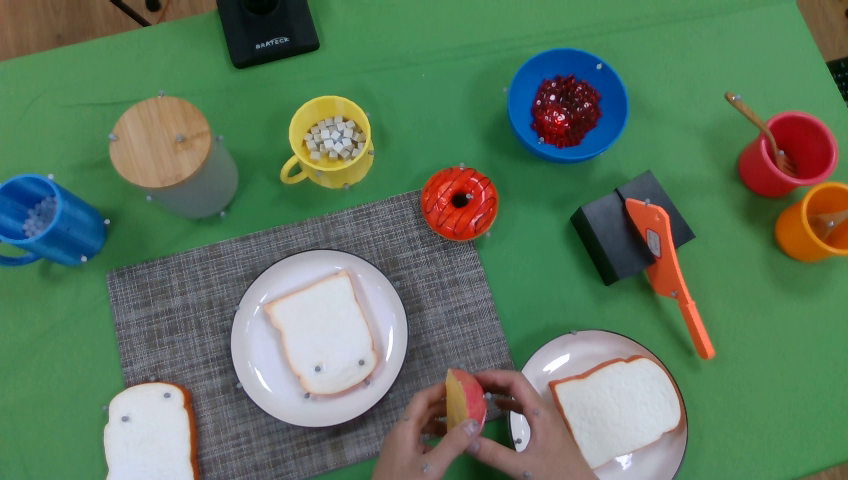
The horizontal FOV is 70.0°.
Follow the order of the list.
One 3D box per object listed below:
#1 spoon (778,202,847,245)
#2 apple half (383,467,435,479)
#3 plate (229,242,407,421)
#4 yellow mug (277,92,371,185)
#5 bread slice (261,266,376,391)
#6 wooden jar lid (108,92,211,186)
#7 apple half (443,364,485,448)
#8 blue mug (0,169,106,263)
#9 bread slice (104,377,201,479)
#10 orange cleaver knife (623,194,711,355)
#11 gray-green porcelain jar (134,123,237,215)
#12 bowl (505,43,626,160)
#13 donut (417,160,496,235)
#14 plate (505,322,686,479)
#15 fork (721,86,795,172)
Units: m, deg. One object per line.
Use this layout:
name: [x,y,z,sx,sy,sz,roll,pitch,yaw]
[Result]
spoon: [0.525,-0.048,0.725,0.022,0.194,0.041,-7,69,-50]
apple half: [-0.020,0.296,0.674,0.074,0.053,0.080,37,78,9]
plate: [-0.123,0.107,0.720,0.208,0.039,0.206,0,76,-1]
yellow mug: [-0.130,-0.118,0.764,0.131,0.064,0.099,-39,80,-10]
bread slice: [-0.116,0.110,0.721,0.107,0.018,0.133,-27,78,-7]
wooden jar lid: [-0.286,-0.108,0.661,0.108,0.021,0.108,0,75,-1]
apple half: [0.042,0.160,0.589,0.033,0.081,0.081,-4,76,-13]
blue mug: [-0.452,-0.015,0.707,0.116,0.106,0.082,-41,80,-10]
bread slice: [-0.316,0.225,0.696,0.105,0.019,0.131,-8,78,-5]
orange cleaver knife: [0.291,0.040,0.731,0.012,0.077,0.212,-27,100,-15]
gray-green porcelain jar: [-0.287,-0.092,0.721,0.106,0.127,0.105,0,76,-2]
bowl: [0.173,-0.165,0.779,0.151,0.077,0.150,0,77,-1]
donut: [0.041,-0.053,0.761,0.099,0.048,0.098,0,77,-2]
plate: [0.197,0.203,0.711,0.209,0.038,0.208,0,77,0]
fork: [0.414,-0.134,0.744,0.209,0.018,0.028,27,71,-39]
